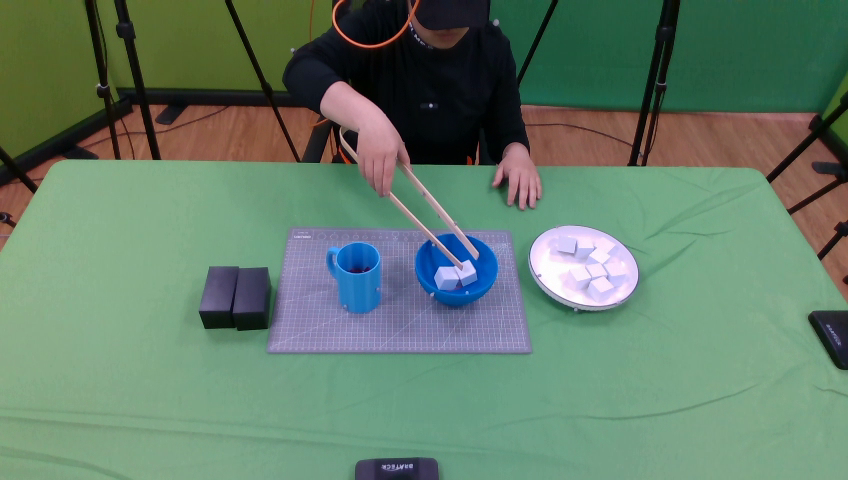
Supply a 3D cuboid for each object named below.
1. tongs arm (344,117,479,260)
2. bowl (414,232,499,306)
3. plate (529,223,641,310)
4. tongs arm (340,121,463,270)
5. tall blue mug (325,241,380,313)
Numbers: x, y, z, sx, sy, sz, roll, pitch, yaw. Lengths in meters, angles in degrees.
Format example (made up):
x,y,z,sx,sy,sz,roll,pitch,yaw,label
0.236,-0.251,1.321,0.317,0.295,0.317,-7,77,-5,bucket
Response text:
x,y,z,sx,sy,sz,roll,pitch,yaw,label
-0.030,-0.101,1.142,0.051,0.026,0.383,-31,68,-16,tongs arm
0.056,0.066,1.095,0.151,0.077,0.150,2,46,-2,bowl
0.303,0.053,1.156,0.209,0.038,0.208,2,46,-1,plate
-0.050,-0.088,1.134,0.028,0.028,0.385,-36,69,-14,tongs arm
-0.130,0.063,1.062,0.107,0.108,0.077,9,47,5,tall blue mug
